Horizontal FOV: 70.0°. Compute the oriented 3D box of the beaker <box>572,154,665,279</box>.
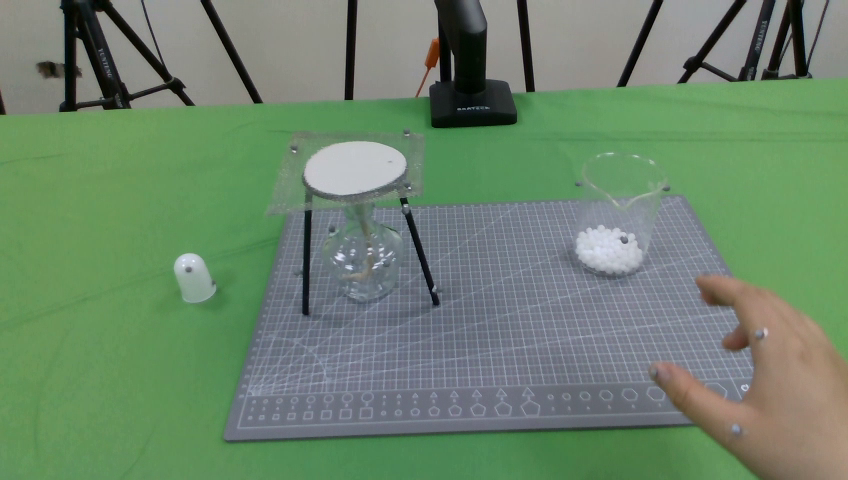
[{"bbox_3d":[0.181,-0.018,0.576,0.074,0.101,0.083,7,40,12],"label":"beaker"}]

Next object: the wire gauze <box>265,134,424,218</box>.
[{"bbox_3d":[-0.061,-0.060,0.504,0.121,0.011,0.124,-2,37,2],"label":"wire gauze"}]

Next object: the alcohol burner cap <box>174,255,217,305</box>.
[{"bbox_3d":[-0.221,0.035,0.581,0.034,0.048,0.033,0,40,1],"label":"alcohol burner cap"}]

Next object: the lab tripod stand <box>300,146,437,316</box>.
[{"bbox_3d":[-0.057,-0.010,0.550,0.148,0.133,0.147,-3,38,2],"label":"lab tripod stand"}]

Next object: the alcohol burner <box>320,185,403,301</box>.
[{"bbox_3d":[-0.058,-0.001,0.555,0.078,0.120,0.077,0,40,0],"label":"alcohol burner"}]
